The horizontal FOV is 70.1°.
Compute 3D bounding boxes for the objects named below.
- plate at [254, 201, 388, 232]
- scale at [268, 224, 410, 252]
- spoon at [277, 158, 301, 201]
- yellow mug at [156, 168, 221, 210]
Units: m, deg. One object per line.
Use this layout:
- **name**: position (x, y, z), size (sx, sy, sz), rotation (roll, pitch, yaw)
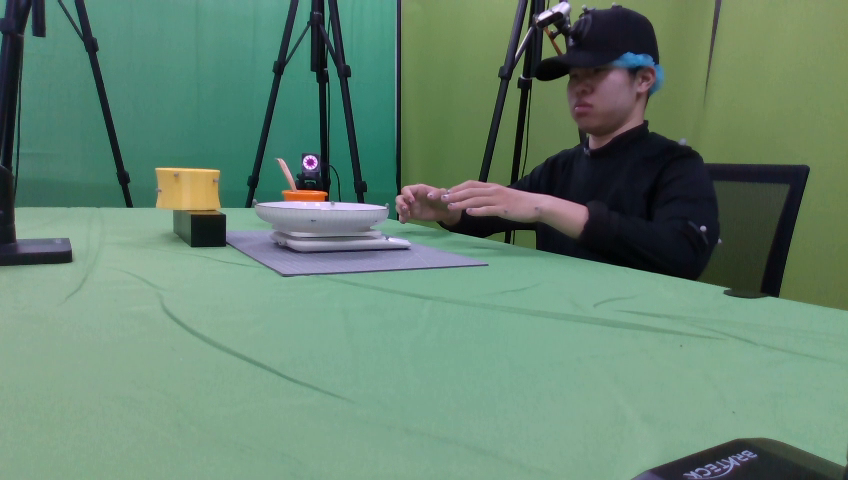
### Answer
- **plate**: position (-0.161, -0.038, 0.961), size (0.209, 0.038, 0.209), rotation (2, 6, 0)
- **scale**: position (-0.137, -0.006, 0.980), size (0.202, 0.031, 0.148), rotation (-1, 8, -30)
- **spoon**: position (-0.272, -0.103, 1.260), size (0.042, 0.193, 0.021), rotation (-5, -34, -33)
- **yellow mug**: position (-0.395, -0.088, 1.025), size (0.100, 0.064, 0.130), rotation (2, 7, -9)
